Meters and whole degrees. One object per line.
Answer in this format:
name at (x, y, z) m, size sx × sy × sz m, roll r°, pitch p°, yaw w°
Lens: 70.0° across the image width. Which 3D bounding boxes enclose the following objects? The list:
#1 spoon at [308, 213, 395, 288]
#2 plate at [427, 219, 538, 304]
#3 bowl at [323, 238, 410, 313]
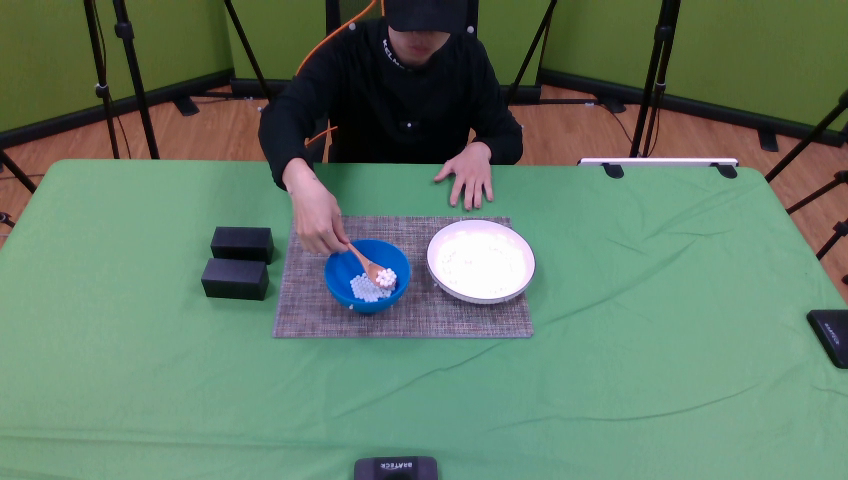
spoon at (-0.128, 0.016, 1.062) m, size 0.194 × 0.021 × 0.041 m, roll 44°, pitch 50°, yaw -1°
plate at (0.109, 0.044, 1.149) m, size 0.208 × 0.039 × 0.206 m, roll 2°, pitch 46°, yaw -2°
bowl at (-0.101, 0.077, 1.073) m, size 0.151 × 0.077 × 0.150 m, roll 2°, pitch 46°, yaw -2°
